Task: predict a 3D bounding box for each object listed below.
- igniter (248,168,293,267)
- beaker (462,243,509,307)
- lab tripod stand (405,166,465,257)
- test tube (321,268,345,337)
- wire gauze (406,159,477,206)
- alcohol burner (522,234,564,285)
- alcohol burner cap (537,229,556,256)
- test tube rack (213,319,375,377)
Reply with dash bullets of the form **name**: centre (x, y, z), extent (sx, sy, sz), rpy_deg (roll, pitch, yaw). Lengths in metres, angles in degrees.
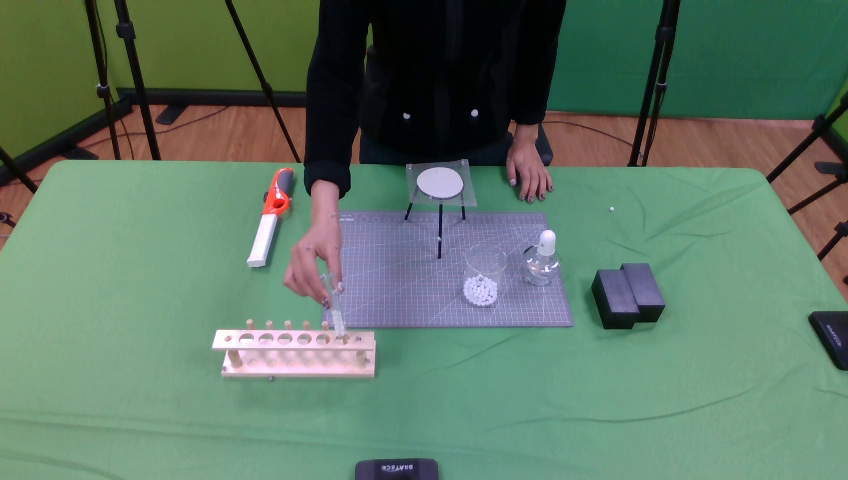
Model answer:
- **igniter**: centre (-0.308, -0.055, 1.225), extent (0.057, 0.025, 0.275), rpy_deg (-3, 45, 6)
- **beaker**: centre (0.105, 0.064, 1.086), extent (0.084, 0.101, 0.073), rpy_deg (18, 47, 14)
- **lab tripod stand**: centre (0.030, -0.063, 1.179), extent (0.148, 0.132, 0.147), rpy_deg (3, 47, -3)
- **test tube**: centre (-0.131, 0.095, 0.879), extent (0.017, 0.151, 0.017), rpy_deg (-1, 47, 1)
- **wire gauze**: centre (0.031, -0.108, 1.129), extent (0.125, 0.011, 0.120), rpy_deg (-1, 48, -5)
- **alcohol burner**: centre (0.223, 0.027, 1.120), extent (0.078, 0.119, 0.077), rpy_deg (2, 48, -2)
- **alcohol burner cap**: centre (0.223, 0.002, 1.095), extent (0.034, 0.048, 0.033), rpy_deg (-1, 44, 1)
- **test tube rack**: centre (-0.202, 0.170, 0.976), extent (0.242, 0.085, 0.066), rpy_deg (1, 46, -3)
